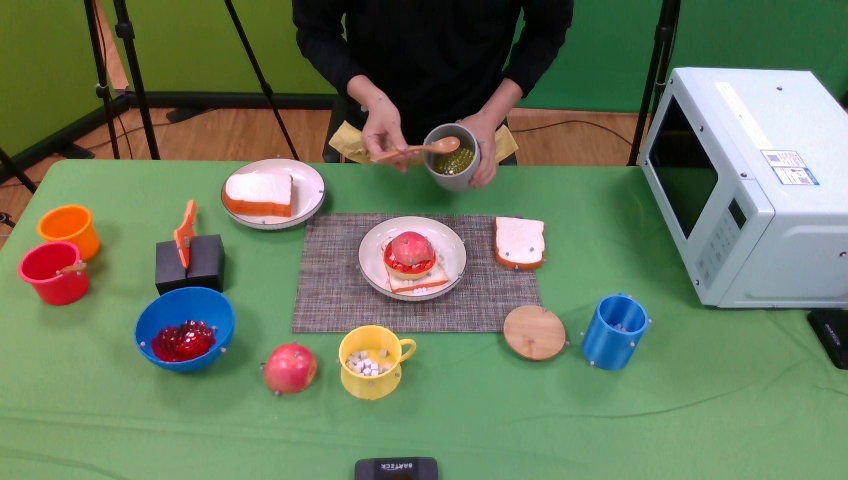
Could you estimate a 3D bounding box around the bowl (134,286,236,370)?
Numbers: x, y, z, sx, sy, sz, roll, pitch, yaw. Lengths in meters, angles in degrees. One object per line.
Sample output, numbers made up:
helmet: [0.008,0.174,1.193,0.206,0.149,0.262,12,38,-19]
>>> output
bowl: [-0.377,0.156,0.981,0.151,0.077,0.150,2,46,-2]

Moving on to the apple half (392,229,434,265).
apple half: [-0.021,0.005,1.083,0.081,0.033,0.081,7,48,-7]

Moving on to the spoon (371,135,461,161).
spoon: [-0.012,-0.161,1.056,0.194,0.022,0.041,-15,46,-37]

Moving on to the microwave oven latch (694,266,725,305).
microwave oven latch: [0.523,0.082,1.115,0.030,0.029,0.078,3,46,0]

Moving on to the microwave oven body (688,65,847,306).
microwave oven body: [0.669,-0.111,1.176,0.326,0.261,0.439,0,46,-3]

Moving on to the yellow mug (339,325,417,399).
yellow mug: [-0.072,0.190,0.978,0.131,0.064,0.099,-17,50,-20]

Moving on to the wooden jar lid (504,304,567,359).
wooden jar lid: [0.192,0.161,1.051,0.108,0.021,0.107,3,50,-3]

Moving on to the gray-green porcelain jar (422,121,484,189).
gray-green porcelain jar: [0.060,-0.158,1.170,0.106,0.127,0.105,-2,81,11]

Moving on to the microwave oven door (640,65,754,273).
microwave oven door: [0.523,-0.147,1.193,0.039,0.245,0.353,0,47,-3]

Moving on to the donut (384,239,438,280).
donut: [-0.025,0.029,1.109,0.099,0.048,0.098,2,46,-2]

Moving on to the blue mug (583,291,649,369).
blue mug: [0.324,0.142,1.023,0.082,0.106,0.116,15,47,11]

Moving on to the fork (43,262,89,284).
fork: [-0.599,0.053,1.014,0.207,0.019,0.028,-14,30,45]

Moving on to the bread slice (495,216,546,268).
bread slice: [0.194,0.002,1.204,0.105,0.019,0.131,6,46,2]

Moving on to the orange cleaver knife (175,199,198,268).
orange cleaver knife: [-0.438,-0.017,1.138,0.012,0.077,0.210,-14,27,-7]

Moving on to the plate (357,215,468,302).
plate: [-0.022,0.037,1.141,0.208,0.039,0.206,2,46,-2]

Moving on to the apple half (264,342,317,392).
apple half: [-0.214,0.198,0.970,0.074,0.053,0.080,19,48,10]

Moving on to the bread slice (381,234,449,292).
bread slice: [-0.027,0.040,1.141,0.107,0.018,0.133,-12,50,-16]

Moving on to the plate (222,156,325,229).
plate: [-0.308,-0.095,1.251,0.209,0.038,0.208,2,47,-2]
